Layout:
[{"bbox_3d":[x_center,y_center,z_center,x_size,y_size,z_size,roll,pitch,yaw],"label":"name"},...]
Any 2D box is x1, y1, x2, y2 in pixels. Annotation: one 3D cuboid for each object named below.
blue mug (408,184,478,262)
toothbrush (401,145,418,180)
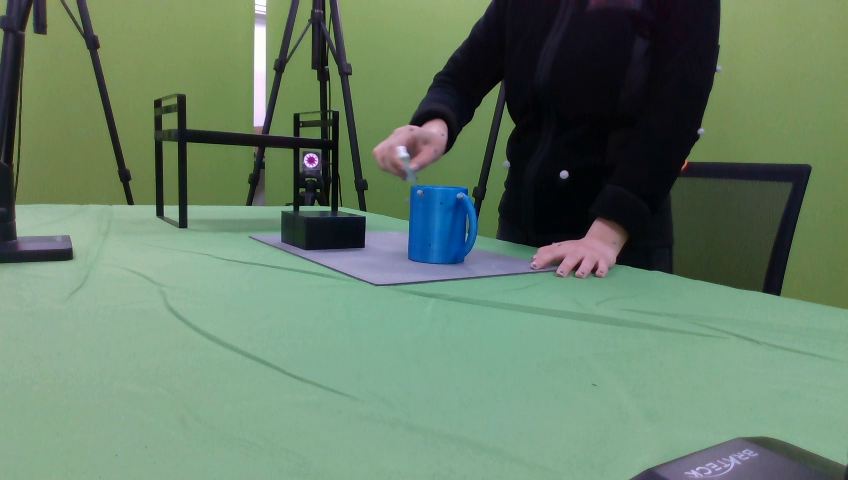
[{"bbox_3d":[0.031,-0.024,0.843,0.083,0.106,0.116,-4,10,-43],"label":"blue mug"},{"bbox_3d":[-0.020,-0.106,0.857,0.014,0.016,0.182,-21,-5,1],"label":"toothbrush"}]
